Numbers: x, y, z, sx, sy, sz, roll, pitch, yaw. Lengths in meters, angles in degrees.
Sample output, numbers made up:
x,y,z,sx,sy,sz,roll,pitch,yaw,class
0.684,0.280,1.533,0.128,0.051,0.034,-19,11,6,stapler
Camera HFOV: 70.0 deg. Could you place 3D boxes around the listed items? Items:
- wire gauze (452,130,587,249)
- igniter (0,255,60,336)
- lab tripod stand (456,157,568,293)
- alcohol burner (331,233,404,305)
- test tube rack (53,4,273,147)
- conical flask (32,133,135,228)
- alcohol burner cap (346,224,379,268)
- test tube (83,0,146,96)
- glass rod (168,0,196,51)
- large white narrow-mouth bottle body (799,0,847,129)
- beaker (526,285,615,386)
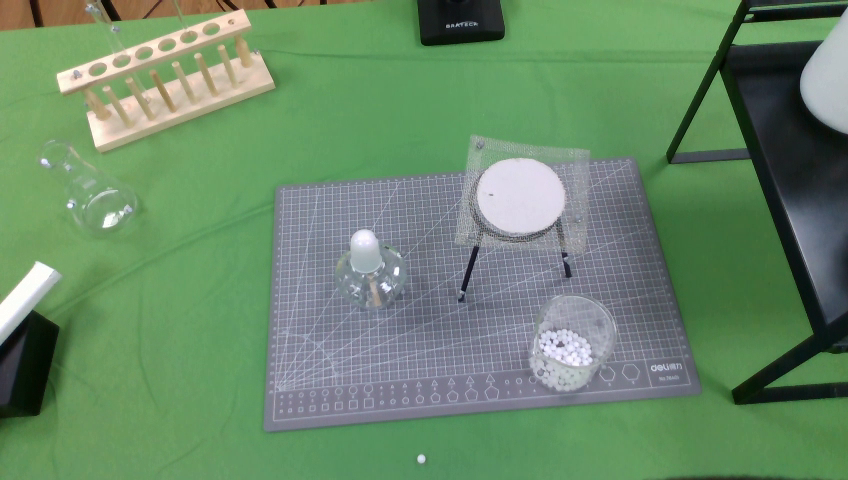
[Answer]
x,y,z,sx,sy,sz,roll,pitch,yaw,class
0.095,-0.050,0.582,0.121,0.011,0.124,8,64,4,wire gauze
-0.469,0.132,0.595,0.057,0.025,0.275,20,64,22,igniter
0.091,-0.014,0.640,0.148,0.132,0.147,0,61,1,lab tripod stand
-0.061,0.022,0.638,0.078,0.120,0.077,0,61,1,alcohol burner
-0.332,-0.213,0.787,0.242,0.086,0.066,-24,64,-10,test tube rack
-0.395,-0.072,0.696,0.075,0.123,0.074,-1,62,2,conical flask
-0.062,0.003,0.607,0.034,0.048,0.033,2,55,-2,alcohol burner cap
-0.377,-0.236,0.744,0.017,0.151,0.017,-1,56,1,test tube
-0.306,-0.282,0.747,0.008,0.201,0.008,-2,55,4,glass rod
0.393,-0.181,0.482,0.102,0.196,0.101,-1,62,3,large white narrow-mouth bottle body
0.138,0.100,0.599,0.084,0.101,0.073,-29,65,-11,beaker
